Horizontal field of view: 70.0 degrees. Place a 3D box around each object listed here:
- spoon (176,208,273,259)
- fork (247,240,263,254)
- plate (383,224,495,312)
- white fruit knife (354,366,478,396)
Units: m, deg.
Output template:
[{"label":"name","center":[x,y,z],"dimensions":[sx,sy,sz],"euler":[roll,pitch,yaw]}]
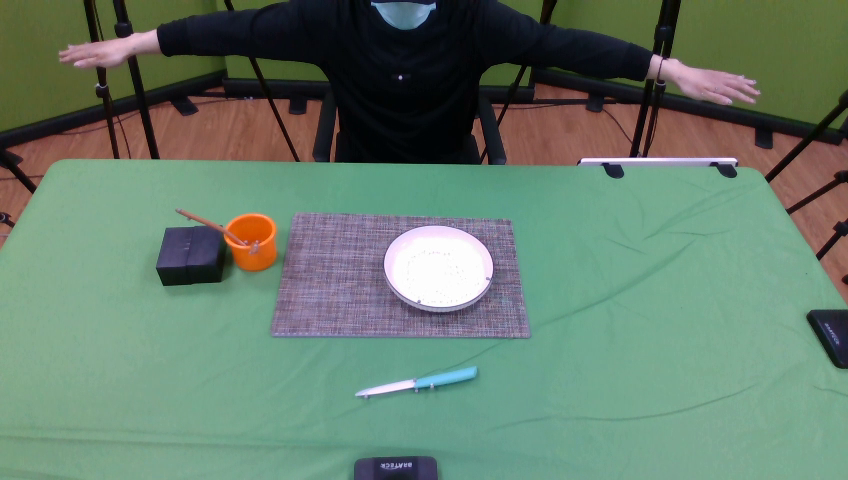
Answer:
[{"label":"spoon","center":[-0.355,-0.011,1.088],"dimensions":[0.041,0.195,0.021],"euler":[21,77,54]},{"label":"fork","center":[-0.301,0.011,1.075],"dimensions":[0.028,0.018,0.207],"euler":[3,0,-15]},{"label":"plate","center":[0.026,0.055,1.128],"dimensions":[0.209,0.038,0.208],"euler":[2,46,-2]},{"label":"white fruit knife","center":[-0.010,0.231,0.978],"dimensions":[0.208,0.016,0.027],"euler":[-9,19,-10]}]
